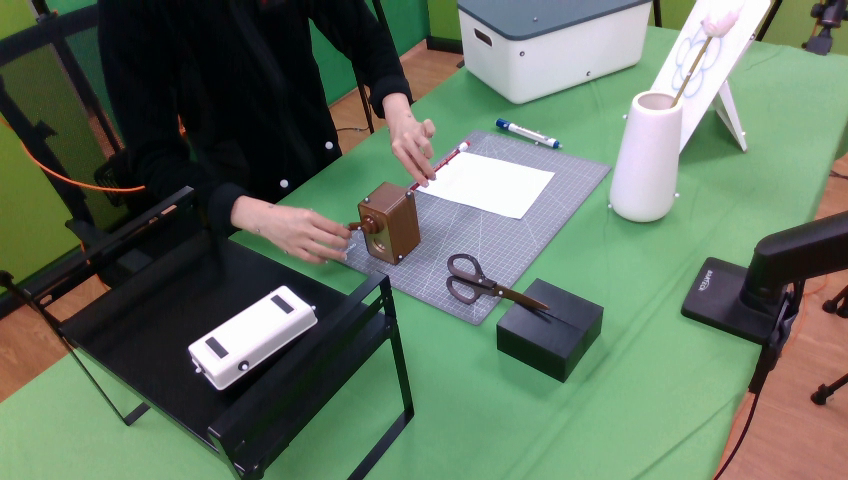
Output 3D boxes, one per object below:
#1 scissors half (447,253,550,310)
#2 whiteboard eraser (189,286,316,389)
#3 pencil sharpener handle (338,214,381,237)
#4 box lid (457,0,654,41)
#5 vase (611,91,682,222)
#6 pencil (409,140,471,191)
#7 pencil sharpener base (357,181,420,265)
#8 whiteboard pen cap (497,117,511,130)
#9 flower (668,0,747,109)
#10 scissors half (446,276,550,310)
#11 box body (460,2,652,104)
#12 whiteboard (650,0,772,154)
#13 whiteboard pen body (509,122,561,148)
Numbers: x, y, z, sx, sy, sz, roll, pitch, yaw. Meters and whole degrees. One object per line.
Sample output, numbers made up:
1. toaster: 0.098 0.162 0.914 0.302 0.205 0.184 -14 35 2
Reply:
1. scissors half: 0.098 0.058 0.821 0.173 0.040 0.013 27 33 37
2. whiteboard eraser: -0.166 0.096 0.593 0.113 0.042 0.055 -36 47 -29
3. pencil sharpener handle: -0.098 -0.016 0.904 0.067 0.036 0.031 0 35 45
4. box lid: 0.285 -0.522 1.323 0.373 0.015 0.261 -22 43 -16
5. vase: 0.348 -0.125 0.935 0.098 0.201 0.097 -3 40 3
6. pencil: 0.014 -0.111 0.984 0.012 0.012 0.194 27 55 33
7. pencil sharpener base: -0.055 -0.024 0.941 0.061 0.107 0.077 21 48 29
8. whiteboard pen cap: 0.165 -0.235 1.227 0.033 0.018 0.018 31 53 31
9. flower: 0.355 -0.187 0.879 0.038 0.362 0.044 30 48 14
10. scissors half: 0.098 0.077 0.827 0.174 0.040 0.013 6 14 44
11. box body: 0.291 -0.465 1.371 0.365 0.161 0.252 -22 42 -16
12. whiteboard: 0.543 -0.298 1.076 0.144 0.305 0.216 12 40 -7
13. whiteboard pen body: 0.208 -0.212 1.195 0.139 0.017 0.017 30 53 33
